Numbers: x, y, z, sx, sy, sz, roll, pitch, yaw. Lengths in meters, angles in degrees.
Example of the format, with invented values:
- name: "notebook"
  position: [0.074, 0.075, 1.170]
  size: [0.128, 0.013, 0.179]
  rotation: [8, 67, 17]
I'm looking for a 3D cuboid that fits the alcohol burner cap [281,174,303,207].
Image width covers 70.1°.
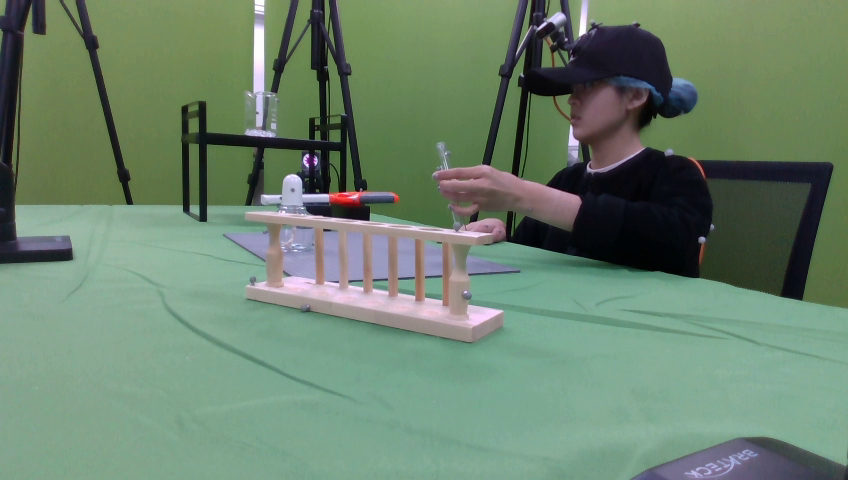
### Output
- name: "alcohol burner cap"
  position: [-0.193, -0.072, 0.884]
  size: [0.034, 0.048, 0.034]
  rotation: [1, 5, 0]

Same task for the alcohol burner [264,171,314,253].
- name: "alcohol burner"
  position: [-0.194, -0.042, 0.888]
  size: [0.078, 0.119, 0.078]
  rotation: [3, 5, 0]

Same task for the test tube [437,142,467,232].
- name: "test tube"
  position: [0.042, -0.074, 0.901]
  size: [0.017, 0.150, 0.017]
  rotation: [-13, -5, -1]

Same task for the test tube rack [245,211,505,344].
- name: "test tube rack"
  position: [-0.049, 0.025, 0.547]
  size: [0.241, 0.085, 0.067]
  rotation: [7, 8, 29]

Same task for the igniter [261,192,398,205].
- name: "igniter"
  position: [-0.185, -0.083, 1.217]
  size: [0.278, 0.025, 0.057]
  rotation: [-2, 12, -25]

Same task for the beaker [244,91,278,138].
- name: "beaker"
  position: [-0.368, -0.280, 1.356]
  size: [0.074, 0.100, 0.084]
  rotation: [4, 8, 6]
